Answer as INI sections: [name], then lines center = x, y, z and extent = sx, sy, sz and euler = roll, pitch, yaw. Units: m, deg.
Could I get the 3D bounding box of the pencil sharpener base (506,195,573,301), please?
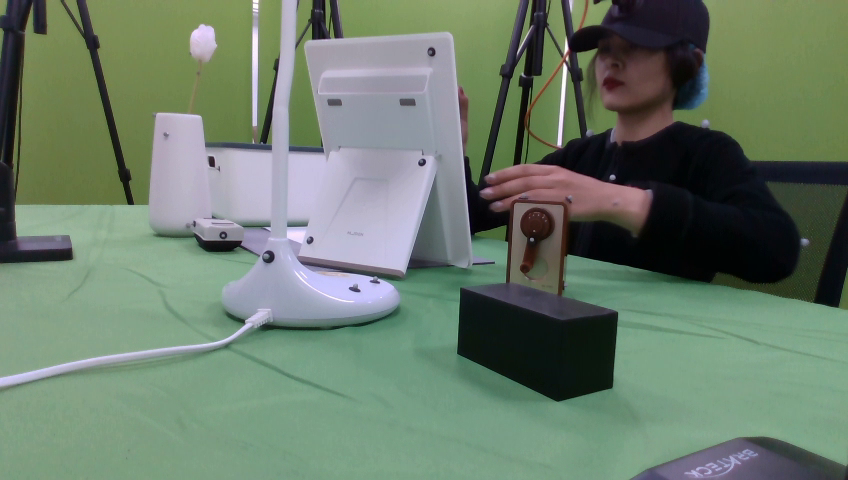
[pencil sharpener base]
center = 0.127, 0.007, 0.663
extent = 0.061, 0.107, 0.077
euler = 5, 8, 15

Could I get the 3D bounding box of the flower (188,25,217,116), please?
[flower]
center = -0.394, -0.189, 1.011
extent = 0.044, 0.361, 0.038
euler = -1, -13, 27

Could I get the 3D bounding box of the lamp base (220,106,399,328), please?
[lamp base]
center = -0.102, -0.023, 0.531
extent = 0.160, 0.180, 0.179
euler = 4, 10, 10

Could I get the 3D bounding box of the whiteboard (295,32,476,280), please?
[whiteboard]
center = -0.076, -0.084, 0.747
extent = 0.216, 0.305, 0.144
euler = 7, 28, 29

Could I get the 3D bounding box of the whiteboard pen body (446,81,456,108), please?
[whiteboard pen body]
center = 0.044, -0.237, 0.979
extent = 0.017, 0.017, 0.141
euler = 3, -1, 3

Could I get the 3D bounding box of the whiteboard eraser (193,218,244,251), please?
[whiteboard eraser]
center = -0.307, -0.010, 0.900
extent = 0.056, 0.042, 0.112
euler = -4, 10, -28

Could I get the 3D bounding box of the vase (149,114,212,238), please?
[vase]
center = -0.405, -0.106, 1.005
extent = 0.098, 0.200, 0.098
euler = 2, 6, 0

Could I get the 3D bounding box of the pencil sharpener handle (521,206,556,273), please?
[pencil sharpener handle]
center = 0.111, 0.000, 0.613
extent = 0.036, 0.067, 0.031
euler = 13, 10, 14

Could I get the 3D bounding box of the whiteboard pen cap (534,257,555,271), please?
[whiteboard pen cap]
center = 0.167, 0.033, 0.839
extent = 0.018, 0.018, 0.033
euler = -1, 6, -23

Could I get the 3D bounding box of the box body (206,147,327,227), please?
[box body]
center = -0.276, -0.122, 1.320
extent = 0.366, 0.160, 0.253
euler = -2, 9, -30

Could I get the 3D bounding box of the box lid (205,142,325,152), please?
[box lid]
center = -0.270, -0.196, 1.310
extent = 0.373, 0.015, 0.262
euler = -2, 9, -30
